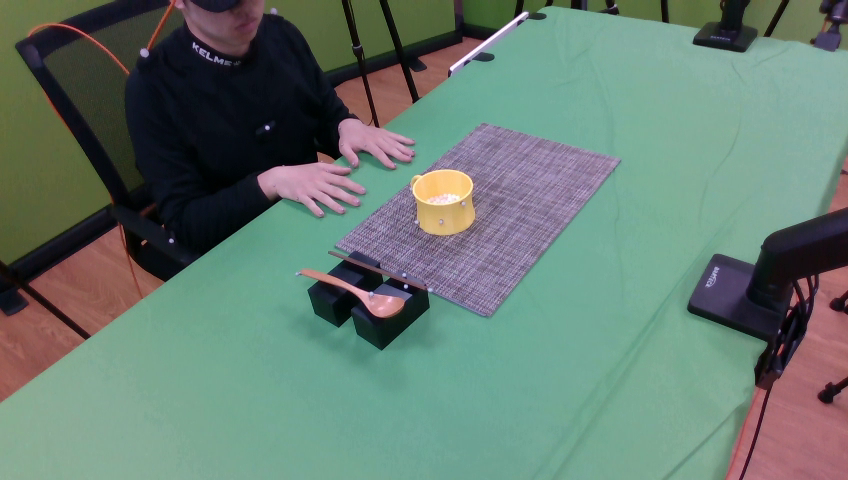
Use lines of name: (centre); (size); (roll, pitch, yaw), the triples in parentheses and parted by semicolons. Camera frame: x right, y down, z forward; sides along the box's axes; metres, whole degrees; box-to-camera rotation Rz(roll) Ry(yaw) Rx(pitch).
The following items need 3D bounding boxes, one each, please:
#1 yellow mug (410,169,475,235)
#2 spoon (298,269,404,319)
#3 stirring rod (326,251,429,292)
yellow mug: (0.022, -0.070, 1.007); (0.100, 0.064, 0.129); (-36, 47, -30)
spoon: (-0.106, 0.068, 0.831); (0.192, 0.022, 0.042); (21, 49, 32)
stirring rod: (-0.068, 0.043, 0.858); (0.175, 0.006, 0.014); (18, 9, 27)
